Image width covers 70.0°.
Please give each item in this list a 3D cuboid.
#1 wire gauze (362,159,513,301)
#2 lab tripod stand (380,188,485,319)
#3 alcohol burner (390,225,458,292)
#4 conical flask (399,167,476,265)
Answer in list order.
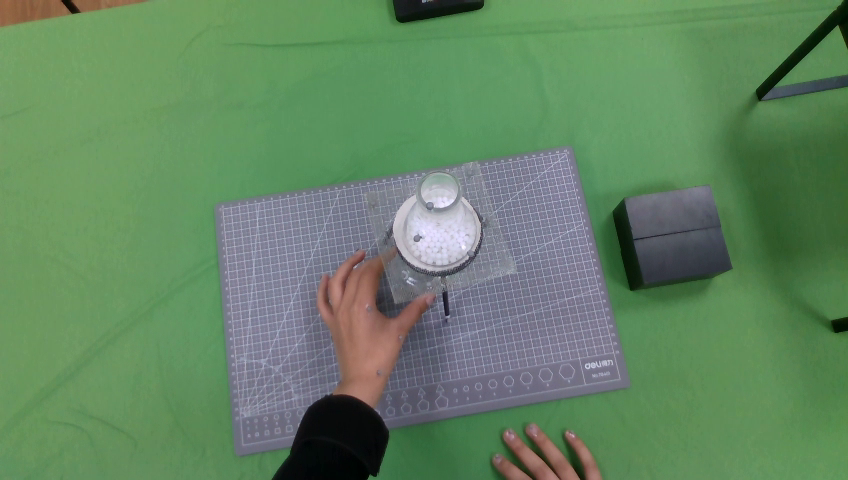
[{"bbox_3d":[0.013,-0.011,0.598,0.125,0.011,0.121,-15,78,-6],"label":"wire gauze"},{"bbox_3d":[0.016,0.003,0.662,0.148,0.132,0.147,0,74,1],"label":"lab tripod stand"},{"bbox_3d":[0.000,0.016,0.669,0.078,0.119,0.077,0,75,0],"label":"alcohol burner"},{"bbox_3d":[0.012,-0.026,0.541,0.075,0.122,0.075,0,75,1],"label":"conical flask"}]
